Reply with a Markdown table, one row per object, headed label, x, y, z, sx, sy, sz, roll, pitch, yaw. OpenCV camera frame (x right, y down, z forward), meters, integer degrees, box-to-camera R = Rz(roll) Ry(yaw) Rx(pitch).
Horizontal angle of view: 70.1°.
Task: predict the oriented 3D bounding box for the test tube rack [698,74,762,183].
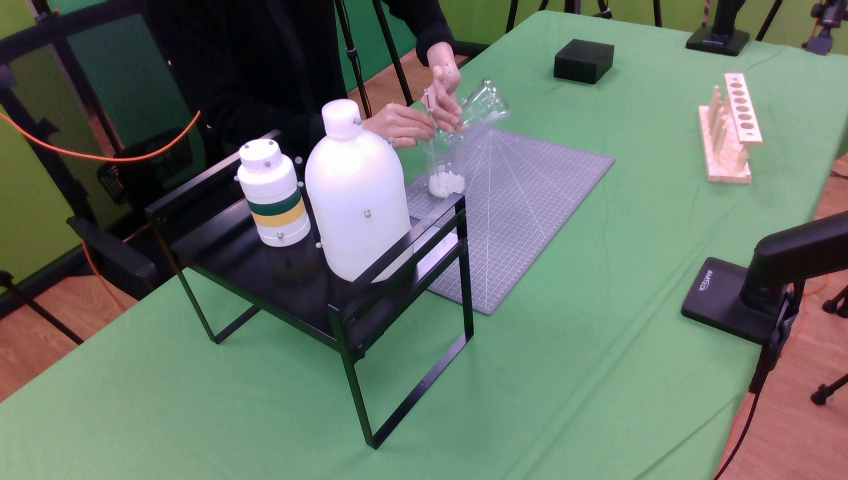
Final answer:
| label | x | y | z | sx | sy | sz | roll | pitch | yaw |
| --- | --- | --- | --- | --- | --- | --- | --- | --- | --- |
| test tube rack | 0.547 | -0.208 | 1.095 | 0.066 | 0.085 | 0.242 | 5 | 42 | 15 |

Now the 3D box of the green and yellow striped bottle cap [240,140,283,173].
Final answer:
| label | x | y | z | sx | sy | sz | roll | pitch | yaw |
| --- | --- | --- | --- | --- | --- | --- | --- | --- | --- |
| green and yellow striped bottle cap | -0.183 | -0.094 | 0.679 | 0.045 | 0.020 | 0.045 | -4 | 38 | 4 |

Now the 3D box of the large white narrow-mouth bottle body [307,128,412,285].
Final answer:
| label | x | y | z | sx | sy | sz | roll | pitch | yaw |
| --- | --- | --- | --- | --- | --- | --- | --- | --- | --- |
| large white narrow-mouth bottle body | -0.070 | -0.051 | 0.638 | 0.102 | 0.195 | 0.101 | -3 | 40 | 3 |

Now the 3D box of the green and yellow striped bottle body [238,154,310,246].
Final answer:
| label | x | y | z | sx | sy | sz | roll | pitch | yaw |
| --- | --- | --- | --- | --- | --- | --- | --- | --- | --- |
| green and yellow striped bottle body | -0.178 | -0.056 | 0.714 | 0.063 | 0.120 | 0.063 | -4 | 40 | 4 |

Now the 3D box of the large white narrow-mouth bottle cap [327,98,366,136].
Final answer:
| label | x | y | z | sx | sy | sz | roll | pitch | yaw |
| --- | --- | --- | --- | --- | --- | --- | --- | --- | --- |
| large white narrow-mouth bottle cap | -0.075 | -0.118 | 0.581 | 0.038 | 0.024 | 0.037 | -3 | 40 | 3 |

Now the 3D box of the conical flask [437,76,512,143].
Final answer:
| label | x | y | z | sx | sy | sz | roll | pitch | yaw |
| --- | --- | --- | --- | --- | --- | --- | --- | --- | --- |
| conical flask | 0.081 | -0.210 | 1.011 | 0.121 | 0.076 | 0.075 | -33 | 39 | 14 |

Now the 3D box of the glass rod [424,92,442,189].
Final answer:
| label | x | y | z | sx | sy | sz | roll | pitch | yaw |
| --- | --- | --- | --- | --- | --- | --- | --- | --- | --- |
| glass rod | 0.017 | -0.161 | 1.011 | 0.008 | 0.201 | 0.008 | -5 | 46 | 6 |

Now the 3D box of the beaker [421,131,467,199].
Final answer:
| label | x | y | z | sx | sy | sz | roll | pitch | yaw |
| --- | --- | --- | --- | --- | --- | --- | --- | --- | --- |
| beaker | 0.040 | -0.130 | 1.060 | 0.084 | 0.100 | 0.073 | -24 | 43 | -20 |
